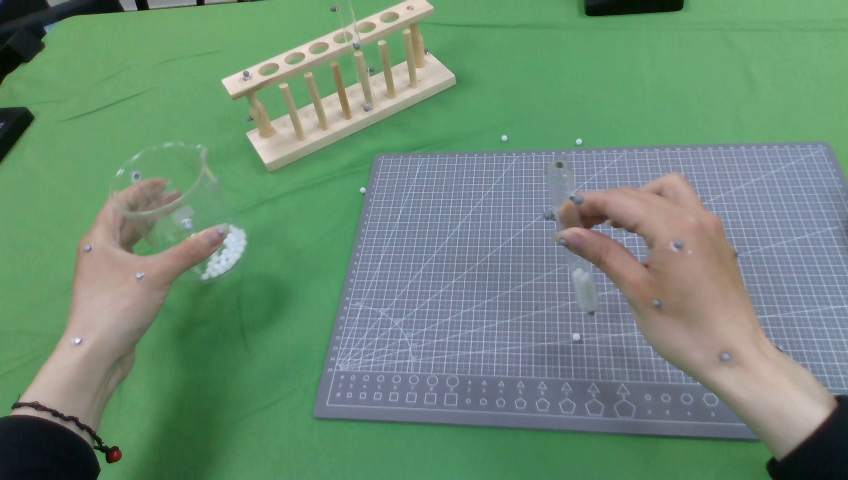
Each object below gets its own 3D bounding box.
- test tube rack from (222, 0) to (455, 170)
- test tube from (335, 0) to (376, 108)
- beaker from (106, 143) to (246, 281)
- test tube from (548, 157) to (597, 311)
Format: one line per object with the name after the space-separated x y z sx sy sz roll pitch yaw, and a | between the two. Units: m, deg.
-0.088 -0.178 0.677 0.242 0.086 0.066 -28 52 -13 | test tube rack
-0.072 -0.202 0.636 0.017 0.152 0.017 -5 49 7 | test tube
-0.196 -0.020 0.500 0.073 0.101 0.084 28 62 27 | beaker
0.101 0.003 0.405 0.017 0.152 0.017 -12 48 13 | test tube
